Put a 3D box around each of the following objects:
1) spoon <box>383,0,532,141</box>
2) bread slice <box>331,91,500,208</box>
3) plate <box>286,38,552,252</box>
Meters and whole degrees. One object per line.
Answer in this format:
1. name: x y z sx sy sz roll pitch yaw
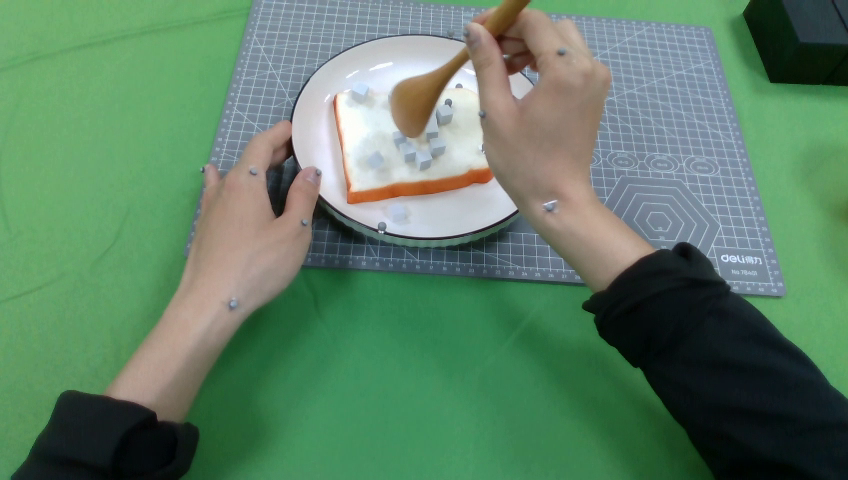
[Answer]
1. spoon: 0.022 -0.118 0.388 0.022 0.193 0.041 -25 85 -40
2. bread slice: -0.006 -0.081 0.490 0.132 0.019 0.104 -10 61 -9
3. plate: -0.004 -0.077 0.485 0.209 0.038 0.207 2 60 -4
